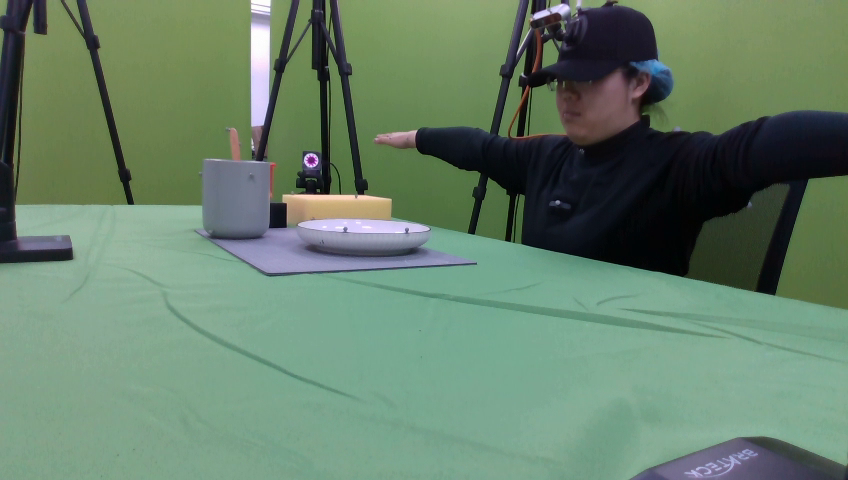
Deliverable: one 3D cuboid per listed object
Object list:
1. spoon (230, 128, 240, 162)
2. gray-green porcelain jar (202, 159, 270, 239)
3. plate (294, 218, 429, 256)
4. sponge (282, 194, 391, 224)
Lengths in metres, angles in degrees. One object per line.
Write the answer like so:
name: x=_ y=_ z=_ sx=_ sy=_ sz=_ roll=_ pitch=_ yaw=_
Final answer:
spoon: x=-0.314 y=-0.109 z=1.025 sx=0.042 sy=0.193 sz=0.021 roll=-5 pitch=-19 yaw=-16
gray-green porcelain jar: x=-0.310 y=-0.068 z=0.999 sx=0.106 sy=0.126 sz=0.106 roll=3 pitch=8 yaw=0
plate: x=-0.096 y=-0.005 z=0.936 sx=0.208 sy=0.039 sz=0.207 roll=3 pitch=7 yaw=0
sponge: x=-0.187 y=-0.065 z=1.306 sx=0.208 sy=0.061 sz=0.117 roll=-4 pitch=10 yaw=-37
